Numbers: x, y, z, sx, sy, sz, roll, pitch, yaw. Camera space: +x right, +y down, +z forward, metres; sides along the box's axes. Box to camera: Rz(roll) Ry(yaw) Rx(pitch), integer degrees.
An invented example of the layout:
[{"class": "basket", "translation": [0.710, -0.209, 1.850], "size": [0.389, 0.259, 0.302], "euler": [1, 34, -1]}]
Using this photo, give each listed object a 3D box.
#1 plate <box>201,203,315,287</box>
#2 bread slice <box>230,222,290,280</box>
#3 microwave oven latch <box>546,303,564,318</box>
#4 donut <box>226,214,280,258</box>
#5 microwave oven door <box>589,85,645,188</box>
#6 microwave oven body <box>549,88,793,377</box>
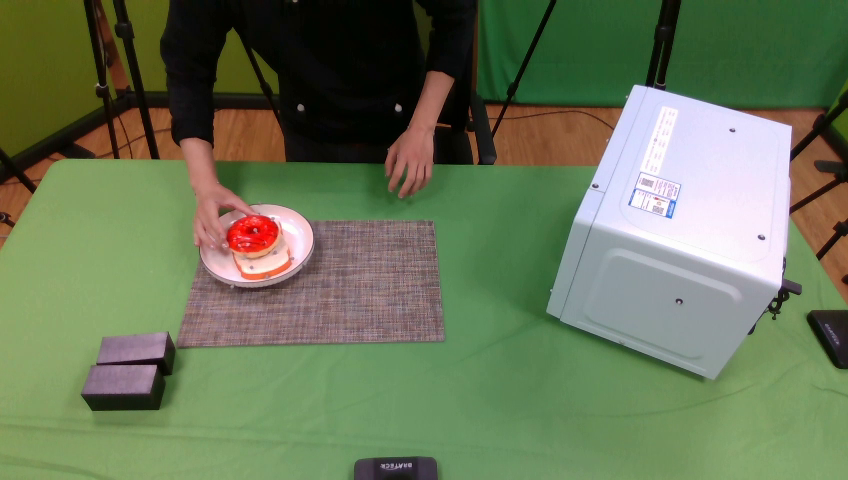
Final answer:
[{"class": "plate", "translation": [-0.310, 0.013, 1.145], "size": [0.208, 0.039, 0.206], "euler": [2, 46, -2]}, {"class": "bread slice", "translation": [-0.308, 0.020, 1.141], "size": [0.105, 0.019, 0.130], "euler": [-17, 48, -18]}, {"class": "microwave oven latch", "translation": [0.242, 0.102, 1.081], "size": [0.030, 0.029, 0.079], "euler": [22, 48, 17]}, {"class": "donut", "translation": [-0.317, -0.009, 1.126], "size": [0.099, 0.048, 0.098], "euler": [0, 45, 0]}, {"class": "microwave oven door", "translation": [0.342, -0.107, 1.148], "size": [0.039, 0.245, 0.354], "euler": [20, 48, 15]}, {"class": "microwave oven body", "translation": [0.456, -0.028, 1.087], "size": [0.325, 0.261, 0.440], "euler": [20, 47, 16]}]
